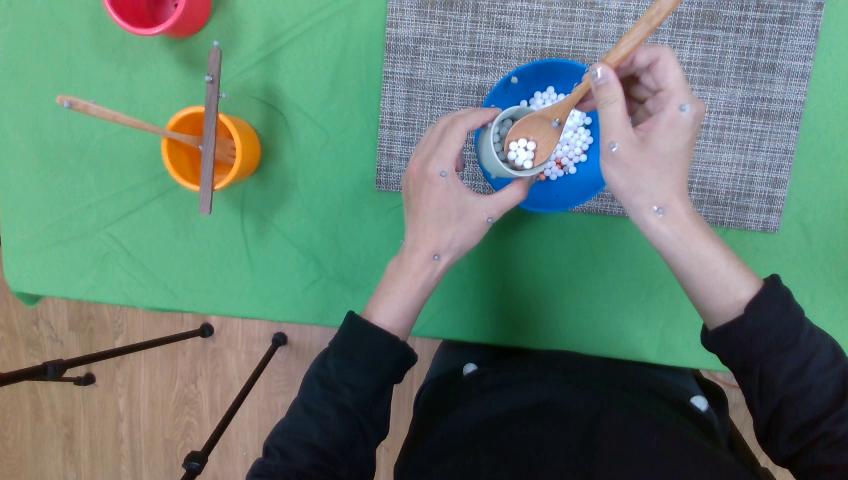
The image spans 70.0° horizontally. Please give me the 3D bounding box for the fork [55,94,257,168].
[{"bbox_3d":[-0.279,-0.116,0.653,0.209,0.018,0.028,15,109,-40],"label":"fork"}]

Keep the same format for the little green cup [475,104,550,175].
[{"bbox_3d":[0.076,-0.085,0.533,0.062,0.038,0.061,2,85,-21],"label":"little green cup"}]

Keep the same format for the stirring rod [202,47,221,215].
[{"bbox_3d":[-0.226,-0.113,0.644,0.014,0.006,0.176,8,102,7],"label":"stirring rod"}]

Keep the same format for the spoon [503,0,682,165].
[{"bbox_3d":[0.125,-0.121,0.461,0.041,0.021,0.194,45,139,-2],"label":"spoon"}]

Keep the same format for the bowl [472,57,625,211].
[{"bbox_3d":[0.127,-0.109,0.635,0.151,0.076,0.152,1,101,7],"label":"bowl"}]
